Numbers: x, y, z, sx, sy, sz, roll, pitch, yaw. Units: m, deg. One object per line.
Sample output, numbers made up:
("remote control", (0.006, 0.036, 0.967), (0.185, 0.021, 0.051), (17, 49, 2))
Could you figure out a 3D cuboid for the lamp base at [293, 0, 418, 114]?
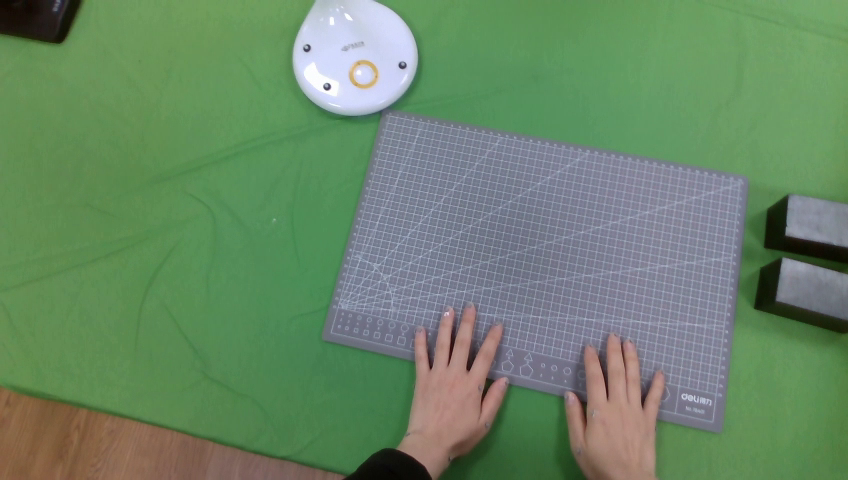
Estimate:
("lamp base", (-0.098, -0.265, 0.705), (0.160, 0.181, 0.178), (-28, 73, -5))
